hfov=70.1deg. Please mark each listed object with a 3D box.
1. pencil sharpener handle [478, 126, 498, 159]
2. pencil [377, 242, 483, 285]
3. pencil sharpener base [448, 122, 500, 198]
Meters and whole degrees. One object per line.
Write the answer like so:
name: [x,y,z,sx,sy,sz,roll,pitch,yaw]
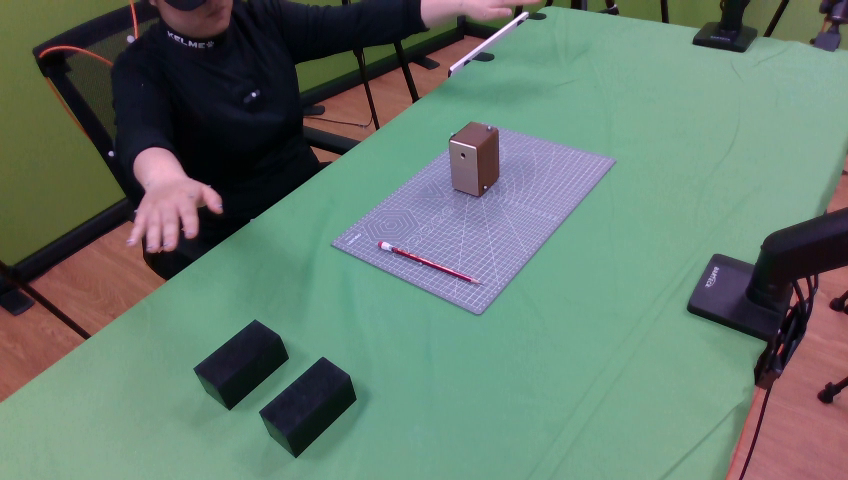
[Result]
pencil sharpener handle: [0.119,-0.179,1.075,0.035,0.068,0.031,21,48,29]
pencil: [0.006,0.036,0.930,0.192,0.012,0.012,20,47,27]
pencil sharpener base: [0.090,-0.140,1.052,0.061,0.107,0.077,20,47,30]
